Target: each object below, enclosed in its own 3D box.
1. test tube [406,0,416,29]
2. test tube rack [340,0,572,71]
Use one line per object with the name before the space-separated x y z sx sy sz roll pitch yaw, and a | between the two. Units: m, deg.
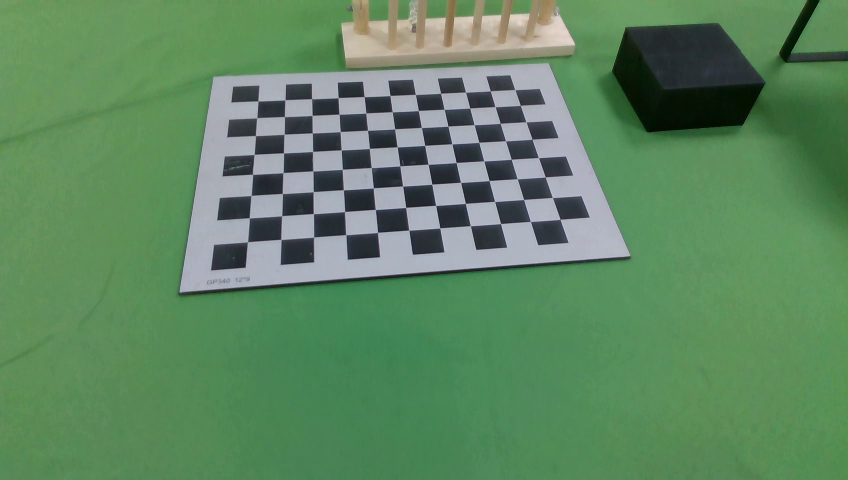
test tube | -0.006 -0.280 0.594 0.017 0.151 0.017 4 46 -4
test tube rack | 0.035 -0.237 0.625 0.243 0.086 0.066 -5 51 -7
